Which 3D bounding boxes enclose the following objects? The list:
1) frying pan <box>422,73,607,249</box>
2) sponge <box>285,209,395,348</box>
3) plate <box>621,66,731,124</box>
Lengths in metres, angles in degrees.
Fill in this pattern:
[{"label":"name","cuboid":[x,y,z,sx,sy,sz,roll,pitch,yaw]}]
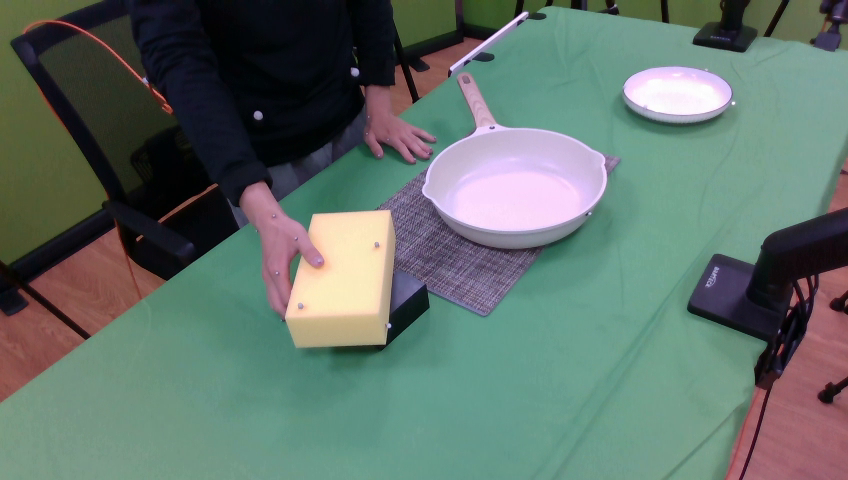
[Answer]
[{"label":"frying pan","cuboid":[0.130,-0.161,1.069,0.307,0.103,0.484,-10,49,-5]},{"label":"sponge","cuboid":[-0.107,0.047,0.823,0.118,0.061,0.206,-4,41,4]},{"label":"plate","cuboid":[0.503,-0.288,1.221,0.207,0.039,0.206,-4,41,4]}]
